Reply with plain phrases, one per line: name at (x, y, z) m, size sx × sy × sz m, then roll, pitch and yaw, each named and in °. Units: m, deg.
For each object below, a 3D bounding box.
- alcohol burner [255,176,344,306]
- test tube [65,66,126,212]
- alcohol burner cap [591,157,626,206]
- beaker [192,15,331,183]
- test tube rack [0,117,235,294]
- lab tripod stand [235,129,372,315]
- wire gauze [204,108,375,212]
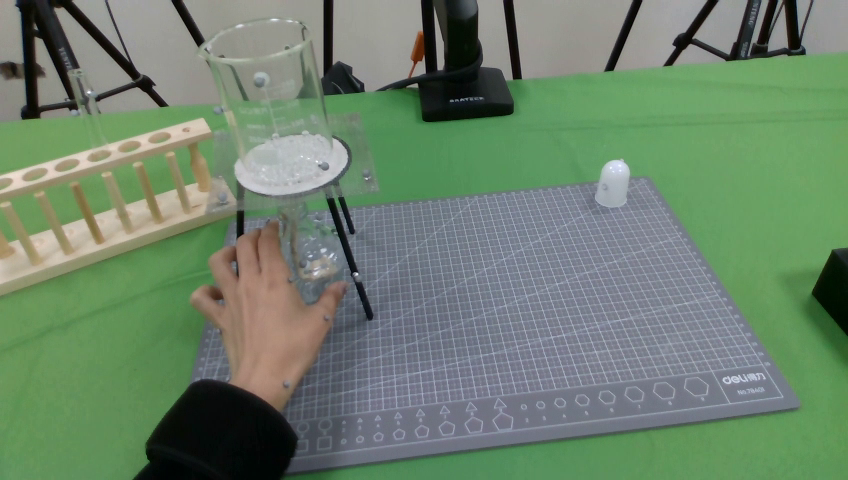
alcohol burner at (-0.108, -0.002, 0.516) m, size 0.078 × 0.120 × 0.077 m, roll -2°, pitch 39°, yaw 2°
test tube at (-0.316, -0.092, 0.587) m, size 0.017 × 0.151 × 0.017 m, roll 0°, pitch 34°, yaw 0°
alcohol burner cap at (0.189, -0.062, 0.618) m, size 0.034 × 0.048 × 0.033 m, roll -2°, pitch 41°, yaw 2°
beaker at (-0.112, -0.098, 0.437) m, size 0.084 × 0.101 × 0.073 m, roll -5°, pitch 40°, yaw 1°
test tube rack at (-0.322, -0.038, 0.600) m, size 0.243 × 0.086 × 0.066 m, roll -22°, pitch 44°, yaw -20°
lab tripod stand at (-0.102, -0.014, 0.514) m, size 0.148 × 0.133 × 0.147 m, roll -3°, pitch 42°, yaw 3°
wire gauze at (-0.106, -0.063, 0.471) m, size 0.125 × 0.011 × 0.120 m, roll -12°, pitch 39°, yaw -5°
